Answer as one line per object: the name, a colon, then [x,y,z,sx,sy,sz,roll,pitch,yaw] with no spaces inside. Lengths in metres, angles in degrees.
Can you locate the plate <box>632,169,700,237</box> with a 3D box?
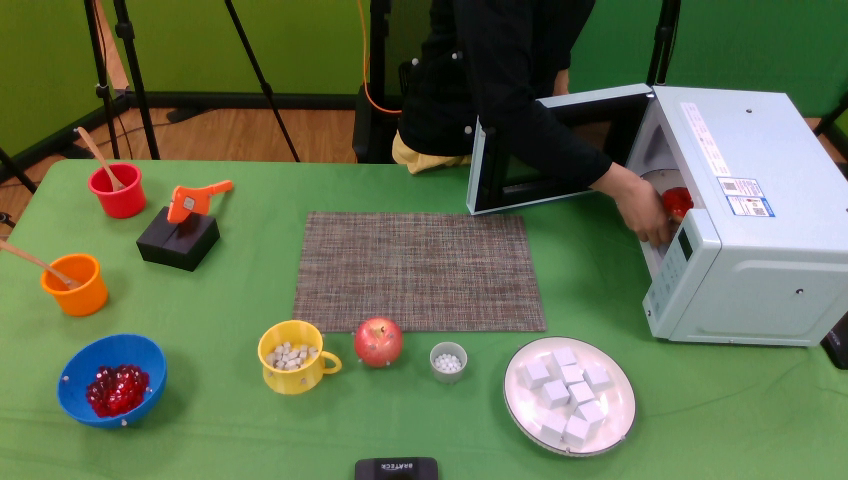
plate: [0.507,-0.064,1.178,0.209,0.038,0.208,3,42,-2]

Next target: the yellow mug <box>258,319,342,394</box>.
yellow mug: [-0.195,0.188,0.972,0.131,0.064,0.099,9,47,4]

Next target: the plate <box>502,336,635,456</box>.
plate: [0.225,0.248,0.963,0.208,0.039,0.206,2,46,-2]

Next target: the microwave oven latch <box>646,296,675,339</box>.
microwave oven latch: [0.412,0.134,1.061,0.030,0.029,0.078,4,45,1]

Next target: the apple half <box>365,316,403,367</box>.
apple half: [-0.063,0.165,1.000,0.053,0.075,0.080,-16,45,-24]

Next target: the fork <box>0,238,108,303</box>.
fork: [-0.633,0.048,1.017,0.208,0.018,0.028,40,44,-27]

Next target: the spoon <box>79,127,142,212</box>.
spoon: [-0.624,-0.140,1.203,0.041,0.021,0.194,-33,100,-26]

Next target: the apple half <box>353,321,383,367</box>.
apple half: [-0.097,0.177,0.984,0.033,0.081,0.081,-17,49,-25]

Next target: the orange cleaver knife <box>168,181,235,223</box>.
orange cleaver knife: [-0.436,-0.078,1.196,0.012,0.077,0.211,16,15,10]

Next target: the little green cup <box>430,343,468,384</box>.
little green cup: [0.039,0.203,0.993,0.061,0.039,0.061,2,46,-2]

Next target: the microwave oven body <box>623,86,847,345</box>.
microwave oven body: [0.567,-0.053,1.118,0.326,0.261,0.439,2,45,-1]

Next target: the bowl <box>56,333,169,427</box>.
bowl: [-0.456,0.223,0.911,0.151,0.077,0.150,3,45,-2]

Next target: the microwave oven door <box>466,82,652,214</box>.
microwave oven door: [0.265,-0.183,1.216,0.356,0.245,0.039,-12,48,-15]

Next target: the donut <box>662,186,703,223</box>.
donut: [0.509,-0.069,1.169,0.099,0.048,0.098,0,41,0]
